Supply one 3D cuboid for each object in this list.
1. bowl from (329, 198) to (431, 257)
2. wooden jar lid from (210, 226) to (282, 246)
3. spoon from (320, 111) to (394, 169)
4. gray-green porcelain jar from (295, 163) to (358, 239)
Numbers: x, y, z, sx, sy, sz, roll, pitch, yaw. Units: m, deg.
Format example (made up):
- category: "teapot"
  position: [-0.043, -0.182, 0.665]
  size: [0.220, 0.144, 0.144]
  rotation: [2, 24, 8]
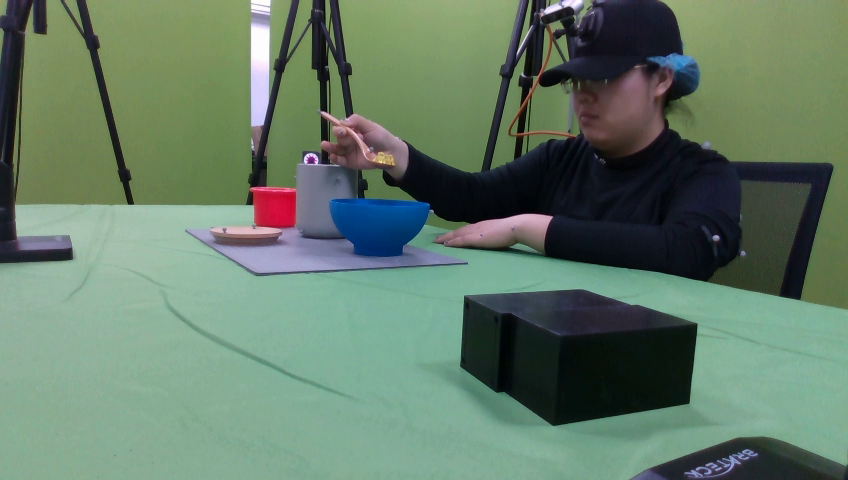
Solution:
- category: "bowl"
  position: [-0.066, -0.019, 0.894]
  size: [0.151, 0.077, 0.151]
  rotation: [3, 7, 0]
- category: "wooden jar lid"
  position: [-0.279, -0.007, 0.951]
  size: [0.108, 0.020, 0.108]
  rotation: [2, 8, 0]
- category: "spoon"
  position: [-0.108, -0.158, 0.940]
  size: [0.042, 0.021, 0.193]
  rotation: [1, 36, -46]
- category: "gray-green porcelain jar"
  position: [-0.170, -0.069, 1.054]
  size: [0.106, 0.126, 0.106]
  rotation: [3, 7, 0]
